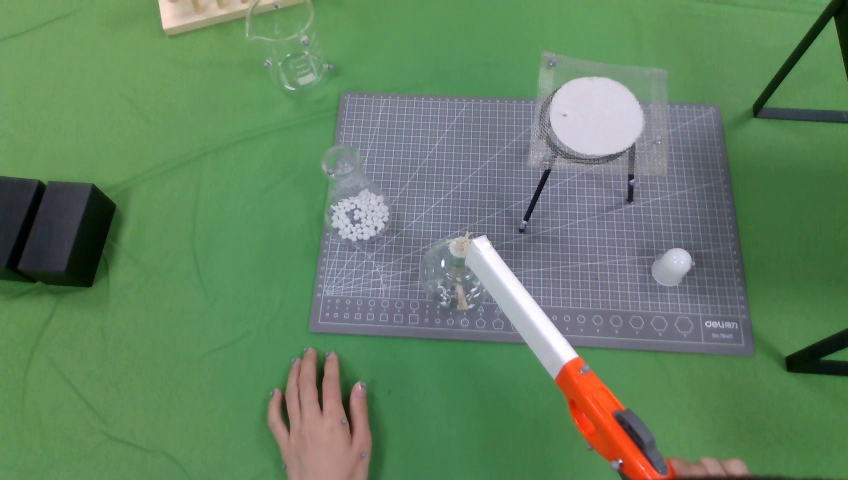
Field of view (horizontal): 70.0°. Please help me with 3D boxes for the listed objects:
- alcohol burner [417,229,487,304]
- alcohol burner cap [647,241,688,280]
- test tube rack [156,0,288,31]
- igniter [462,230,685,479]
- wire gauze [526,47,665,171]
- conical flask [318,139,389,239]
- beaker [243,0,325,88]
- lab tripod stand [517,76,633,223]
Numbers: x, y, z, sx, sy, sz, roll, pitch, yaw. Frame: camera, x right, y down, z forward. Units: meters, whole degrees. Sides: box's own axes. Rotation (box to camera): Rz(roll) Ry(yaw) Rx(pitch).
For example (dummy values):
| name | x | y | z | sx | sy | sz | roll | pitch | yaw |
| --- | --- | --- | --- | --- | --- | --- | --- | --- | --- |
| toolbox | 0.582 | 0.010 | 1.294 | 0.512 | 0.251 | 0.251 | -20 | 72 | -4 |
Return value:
| name | x | y | z | sx | sy | sz | roll | pitch | yaw |
| --- | --- | --- | --- | --- | --- | --- | --- | --- | --- |
| alcohol burner | 0.032 | 0.020 | 0.587 | 0.078 | 0.120 | 0.077 | 0 | 66 | 0 |
| alcohol burner cap | 0.252 | 0.018 | 0.621 | 0.034 | 0.048 | 0.033 | -1 | 69 | 2 |
| test tube rack | -0.227 | -0.346 | 0.759 | 0.242 | 0.086 | 0.066 | -16 | 69 | -5 |
| igniter | 0.110 | 0.100 | 0.446 | 0.025 | 0.057 | 0.273 | -19 | 57 | -26 |
| wire gauze | 0.160 | -0.121 | 0.557 | 0.121 | 0.011 | 0.124 | 8 | 69 | 3 |
| conical flask | -0.077 | -0.056 | 0.616 | 0.075 | 0.123 | 0.075 | -1 | 67 | 2 |
| beaker | -0.160 | -0.231 | 0.704 | 0.084 | 0.101 | 0.073 | -37 | 71 | -12 |
| lab tripod stand | 0.154 | -0.091 | 0.618 | 0.148 | 0.132 | 0.147 | 0 | 66 | 0 |
